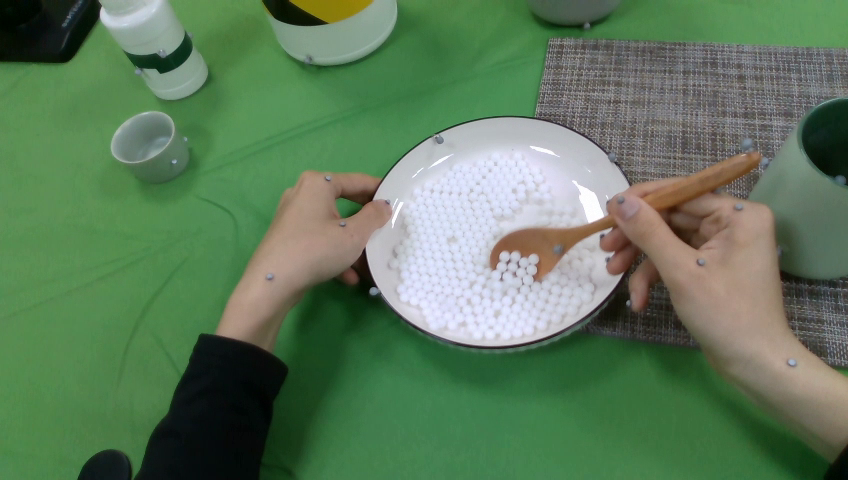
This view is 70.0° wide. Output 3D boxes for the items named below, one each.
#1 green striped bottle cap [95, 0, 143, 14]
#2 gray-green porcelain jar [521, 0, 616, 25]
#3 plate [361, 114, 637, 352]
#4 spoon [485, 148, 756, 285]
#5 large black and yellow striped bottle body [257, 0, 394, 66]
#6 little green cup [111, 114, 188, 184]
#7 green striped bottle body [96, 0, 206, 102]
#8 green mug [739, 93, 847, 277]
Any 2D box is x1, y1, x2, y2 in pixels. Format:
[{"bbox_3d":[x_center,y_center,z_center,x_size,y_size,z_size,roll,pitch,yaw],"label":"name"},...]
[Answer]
[{"bbox_3d":[-0.276,-0.225,0.547,0.044,0.020,0.044,-3,62,5],"label":"green striped bottle cap"},{"bbox_3d":[0.138,-0.277,0.566,0.106,0.127,0.105,-4,59,7],"label":"gray-green porcelain jar"},{"bbox_3d":[0.056,-0.008,0.472,0.209,0.038,0.207,-5,59,9],"label":"plate"},{"bbox_3d":[0.120,-0.012,0.403,0.193,0.022,0.041,-26,89,39],"label":"spoon"},{"bbox_3d":[-0.108,-0.274,0.570,0.130,0.186,0.129,-4,60,7],"label":"large black and yellow striped bottle body"},{"bbox_3d":[-0.256,-0.084,0.570,0.061,0.039,0.061,-4,58,7],"label":"little green cup"},{"bbox_3d":[-0.268,-0.198,0.591,0.063,0.120,0.062,-4,59,8],"label":"green striped bottle body"},{"bbox_3d":[0.288,-0.027,0.404,0.124,0.106,0.092,28,68,23],"label":"green mug"}]
